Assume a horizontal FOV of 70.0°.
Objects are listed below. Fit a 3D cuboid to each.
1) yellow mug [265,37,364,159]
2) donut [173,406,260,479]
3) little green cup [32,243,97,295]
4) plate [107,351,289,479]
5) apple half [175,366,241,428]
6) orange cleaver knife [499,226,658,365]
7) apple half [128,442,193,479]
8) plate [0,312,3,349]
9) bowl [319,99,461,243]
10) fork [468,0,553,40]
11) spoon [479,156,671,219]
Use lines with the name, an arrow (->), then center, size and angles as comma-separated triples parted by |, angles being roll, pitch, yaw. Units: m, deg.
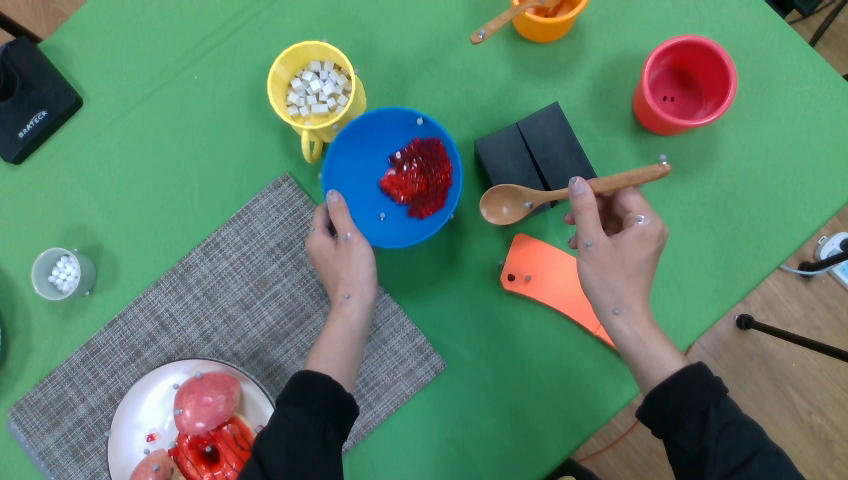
yellow mug -> -0.126, -0.158, 0.697 | 0.100, 0.064, 0.130 | 6, 88, 4
donut -> -0.234, 0.232, 0.684 | 0.099, 0.048, 0.099 | 0, 91, 4
little green cup -> -0.426, 0.035, 0.723 | 0.061, 0.039, 0.061 | 0, 87, 5
plate -> -0.255, 0.230, 0.697 | 0.209, 0.038, 0.208 | 0, 87, 4
apple half -> -0.244, 0.166, 0.673 | 0.081, 0.033, 0.080 | -9, 46, 9
orange cleaver knife -> 0.180, 0.061, 0.687 | 0.211, 0.012, 0.077 | 33, 85, 7
apple half -> -0.295, 0.273, 0.667 | 0.080, 0.053, 0.075 | 53, 132, 6
plate -> -0.604, 0.113, 0.732 | 0.207, 0.039, 0.207 | 0, 87, 4
bowl -> -0.031, -0.069, 0.660 | 0.151, 0.077, 0.151 | 0, 87, 7
fork -> 0.101, -0.249, 0.643 | 0.028, 0.019, 0.207 | 42, 47, 5
spoon -> 0.125, -0.047, 0.542 | 0.021, 0.193, 0.042 | -26, 102, -40
